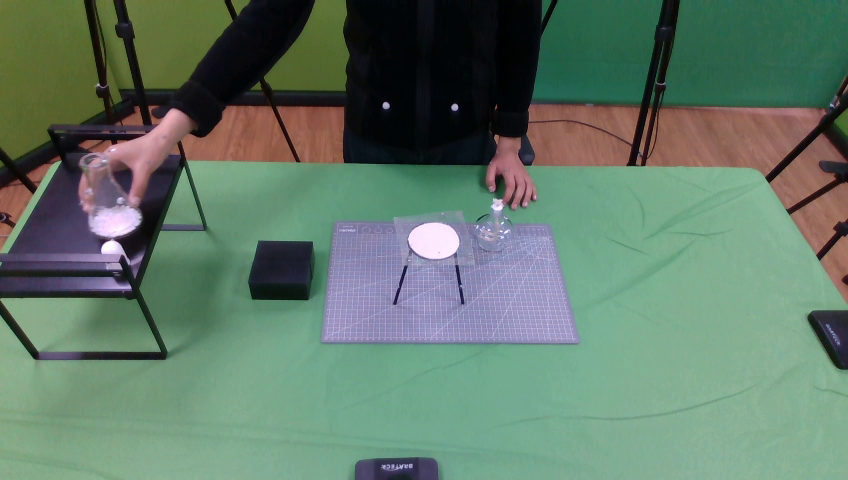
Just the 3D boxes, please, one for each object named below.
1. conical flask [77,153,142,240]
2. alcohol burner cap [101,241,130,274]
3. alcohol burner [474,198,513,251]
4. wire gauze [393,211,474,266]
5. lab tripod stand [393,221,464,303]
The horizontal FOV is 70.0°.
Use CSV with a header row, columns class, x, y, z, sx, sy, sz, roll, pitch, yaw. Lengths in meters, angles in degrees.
class,x,y,z,sx,sy,sz,roll,pitch,yaw
conical flask,-0.465,-0.066,0.882,0.075,0.122,0.075,2,41,-1
alcohol burner cap,-0.449,0.022,0.878,0.034,0.048,0.033,3,45,-2
alcohol burner,0.137,-0.035,1.176,0.078,0.120,0.077,1,47,-1
wire gauze,0.015,-0.003,1.028,0.125,0.011,0.120,-4,47,-7
lab tripod stand,0.009,0.045,1.075,0.148,0.132,0.147,2,48,-2
